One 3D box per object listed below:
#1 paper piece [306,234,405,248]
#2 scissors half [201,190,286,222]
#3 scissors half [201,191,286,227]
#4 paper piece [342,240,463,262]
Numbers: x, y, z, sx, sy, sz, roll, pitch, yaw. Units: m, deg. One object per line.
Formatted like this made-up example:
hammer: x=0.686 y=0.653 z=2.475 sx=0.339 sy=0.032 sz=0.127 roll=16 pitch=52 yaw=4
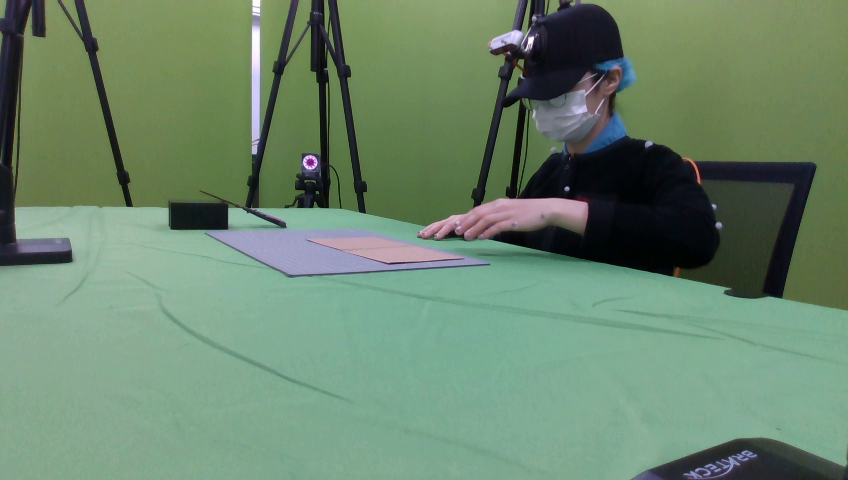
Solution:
paper piece: x=-0.110 y=0.000 z=1.015 sx=0.136 sy=0.004 sz=0.135 roll=-4 pitch=9 yaw=-35
scissors half: x=-0.364 y=-0.068 z=1.225 sx=0.176 sy=0.013 sz=0.040 roll=22 pitch=7 yaw=-27
scissors half: x=-0.358 y=-0.064 z=1.206 sx=0.175 sy=0.013 sz=0.040 roll=23 pitch=1 yaw=-10
paper piece: x=-0.033 y=0.017 z=0.908 sx=0.137 sy=0.008 sz=0.137 roll=-7 pitch=12 yaw=-34
